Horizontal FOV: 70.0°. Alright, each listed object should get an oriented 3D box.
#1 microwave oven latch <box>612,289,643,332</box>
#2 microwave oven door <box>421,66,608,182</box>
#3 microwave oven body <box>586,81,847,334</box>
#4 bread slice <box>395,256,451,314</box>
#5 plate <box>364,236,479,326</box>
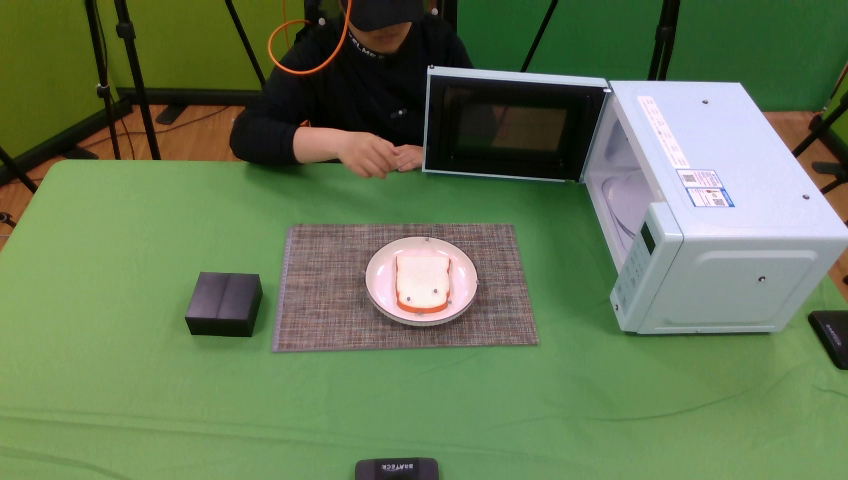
[{"bbox_3d":[0.357,0.124,1.068,0.030,0.029,0.078,0,45,-3],"label":"microwave oven latch"},{"bbox_3d":[0.177,-0.237,1.264,0.356,0.245,0.039,4,46,0],"label":"microwave oven door"},{"bbox_3d":[0.501,-0.070,1.132,0.326,0.261,0.438,-1,45,-3],"label":"microwave oven body"},{"bbox_3d":[-0.001,0.079,1.109,0.105,0.019,0.130,1,45,-2],"label":"bread slice"},{"bbox_3d":[-0.004,0.078,1.107,0.209,0.038,0.208,2,46,-2],"label":"plate"}]
